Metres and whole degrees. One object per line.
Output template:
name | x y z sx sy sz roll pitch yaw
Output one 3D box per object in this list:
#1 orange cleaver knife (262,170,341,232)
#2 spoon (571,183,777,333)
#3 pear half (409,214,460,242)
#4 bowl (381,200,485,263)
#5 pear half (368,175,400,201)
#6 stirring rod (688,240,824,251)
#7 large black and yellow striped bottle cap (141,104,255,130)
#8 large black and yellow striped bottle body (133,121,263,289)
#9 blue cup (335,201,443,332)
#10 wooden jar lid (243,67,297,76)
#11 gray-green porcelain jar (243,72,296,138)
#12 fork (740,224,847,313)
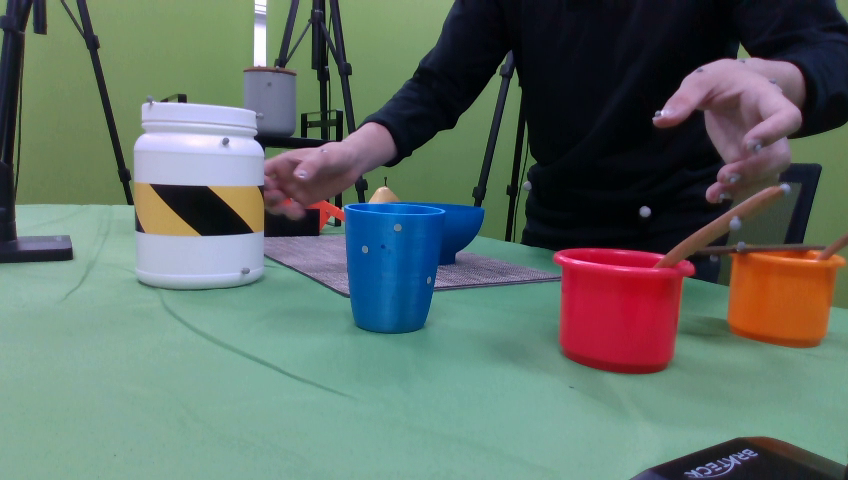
orange cleaver knife | -0.201 -0.056 1.136 0.212 0.077 0.012 31 -4 -31
spoon | 0.161 0.020 0.413 0.042 0.021 0.193 1 -36 -24
pear half | 0.011 -0.019 0.848 0.070 0.031 0.088 4 12 33
bowl | 0.008 -0.013 0.842 0.151 0.077 0.151 2 8 0
pear half | -0.064 -0.061 1.077 0.055 0.110 0.077 9 14 39
stirring rod | 0.289 0.005 0.525 0.177 0.006 0.014 -1 6 -26
large black and yellow striped bottle cap | -0.241 -0.131 0.650 0.115 0.019 0.115 3 8 0
large black and yellow striped bottle body | -0.243 -0.048 0.659 0.131 0.184 0.130 2 7 0
blue cup | -0.028 0.021 0.507 0.093 0.100 0.092 1 9 0
wooden jar lid | -0.319 -0.342 1.254 0.108 0.020 0.108 3 8 0
gray-green porcelain jar | -0.322 -0.279 1.263 0.106 0.126 0.106 3 8 0
fork | 0.323 0.013 0.484 0.028 0.018 0.207 10 -38 -5
